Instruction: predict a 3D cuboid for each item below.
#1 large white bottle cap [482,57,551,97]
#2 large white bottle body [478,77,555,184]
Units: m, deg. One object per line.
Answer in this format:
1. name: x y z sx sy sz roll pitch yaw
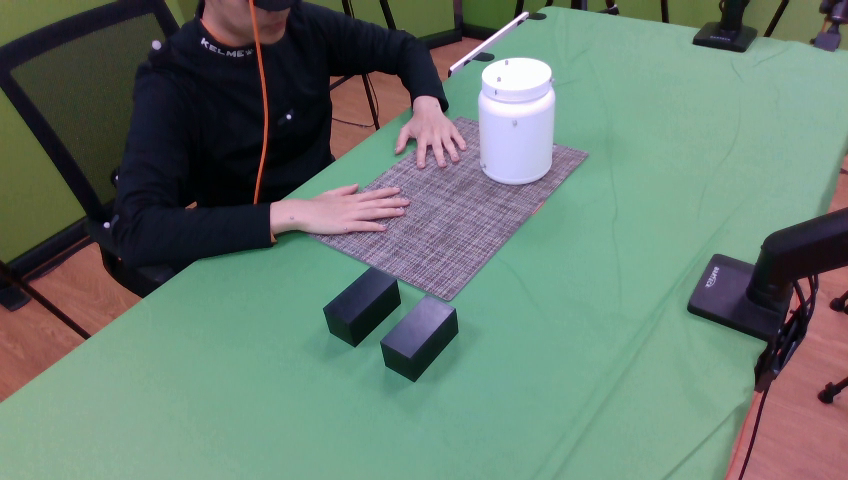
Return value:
1. large white bottle cap: 0.153 -0.270 0.999 0.115 0.018 0.114 -3 41 3
2. large white bottle body: 0.161 -0.206 1.054 0.130 0.185 0.130 -4 41 4
